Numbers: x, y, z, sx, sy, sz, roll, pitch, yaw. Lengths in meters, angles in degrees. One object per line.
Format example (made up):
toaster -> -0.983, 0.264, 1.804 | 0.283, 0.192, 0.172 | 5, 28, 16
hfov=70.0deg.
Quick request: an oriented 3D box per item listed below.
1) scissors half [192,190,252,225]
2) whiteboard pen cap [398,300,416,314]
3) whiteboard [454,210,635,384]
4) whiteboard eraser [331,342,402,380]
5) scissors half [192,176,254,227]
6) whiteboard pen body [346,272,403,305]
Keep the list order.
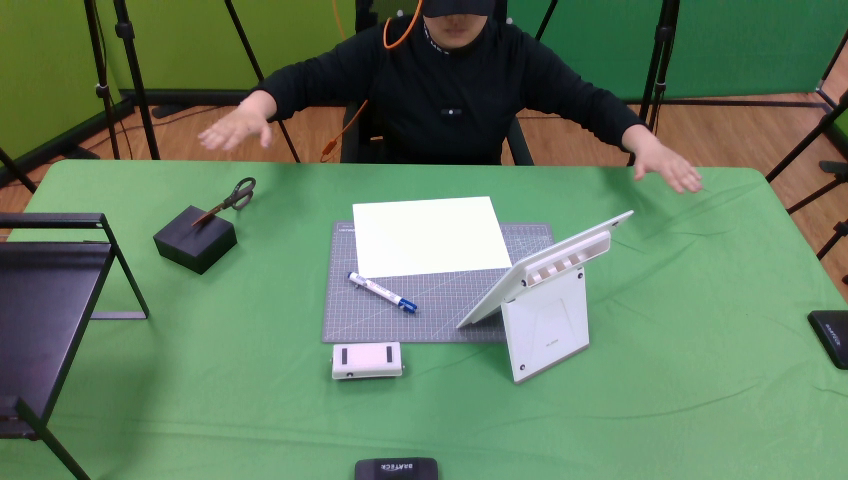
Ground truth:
scissors half -> -0.394, -0.060, 1.187 | 0.013, 0.040, 0.175 | 25, 29, 12
whiteboard pen cap -> -0.031, 0.118, 1.080 | 0.033, 0.018, 0.018 | 24, 49, 20
whiteboard -> 0.210, 0.110, 0.955 | 0.217, 0.306, 0.143 | -21, 72, -23
whiteboard eraser -> -0.094, 0.198, 0.986 | 0.113, 0.042, 0.055 | -2, 44, -6
scissors half -> -0.388, -0.075, 1.174 | 0.013, 0.040, 0.174 | 29, 47, 8
whiteboard pen body -> -0.081, 0.092, 1.098 | 0.140, 0.017, 0.017 | 26, 50, 17
